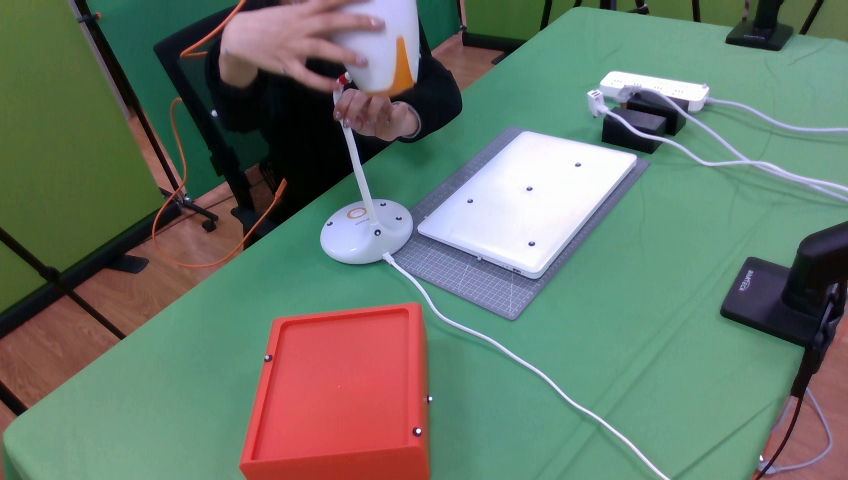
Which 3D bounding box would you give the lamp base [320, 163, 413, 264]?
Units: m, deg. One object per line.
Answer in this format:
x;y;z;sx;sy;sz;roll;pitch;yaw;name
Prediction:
-0.102;-0.069;0.964;0.161;0.181;0.177;-29;45;-19;lamp base

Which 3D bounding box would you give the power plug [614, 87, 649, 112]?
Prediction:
0.406;-0.275;1.192;0.035;0.053;0.072;-16;24;-15;power plug

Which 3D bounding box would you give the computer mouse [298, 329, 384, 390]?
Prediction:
-0.111;0.156;0.799;0.117;0.041;0.062;-15;41;1;computer mouse

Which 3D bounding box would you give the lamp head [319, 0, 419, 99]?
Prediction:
-0.056;-0.228;0.712;0.112;0.123;0.112;-10;20;4;lamp head

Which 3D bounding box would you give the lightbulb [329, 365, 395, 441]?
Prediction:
-0.080;0.195;0.738;0.060;0.060;0.107;-32;61;-25;lightbulb

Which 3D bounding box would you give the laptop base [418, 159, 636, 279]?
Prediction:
0.185;-0.074;1.042;0.233;0.023;0.355;19;48;35;laptop base

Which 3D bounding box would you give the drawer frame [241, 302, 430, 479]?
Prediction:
-0.095;0.184;0.740;0.202;0.083;0.212;-7;40;3;drawer frame

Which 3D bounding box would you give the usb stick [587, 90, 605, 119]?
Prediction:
0.334;-0.258;1.170;0.021;0.059;0.027;-28;44;-5;usb stick

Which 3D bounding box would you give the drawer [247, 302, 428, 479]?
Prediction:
-0.097;0.184;0.743;0.194;0.073;0.210;-6;41;3;drawer

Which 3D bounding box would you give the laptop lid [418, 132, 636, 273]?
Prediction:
0.181;-0.084;1.036;0.239;0.013;0.358;22;49;35;laptop lid

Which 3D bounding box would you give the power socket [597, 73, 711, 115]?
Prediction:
0.469;-0.304;1.249;0.225;0.033;0.072;20;49;30;power socket
